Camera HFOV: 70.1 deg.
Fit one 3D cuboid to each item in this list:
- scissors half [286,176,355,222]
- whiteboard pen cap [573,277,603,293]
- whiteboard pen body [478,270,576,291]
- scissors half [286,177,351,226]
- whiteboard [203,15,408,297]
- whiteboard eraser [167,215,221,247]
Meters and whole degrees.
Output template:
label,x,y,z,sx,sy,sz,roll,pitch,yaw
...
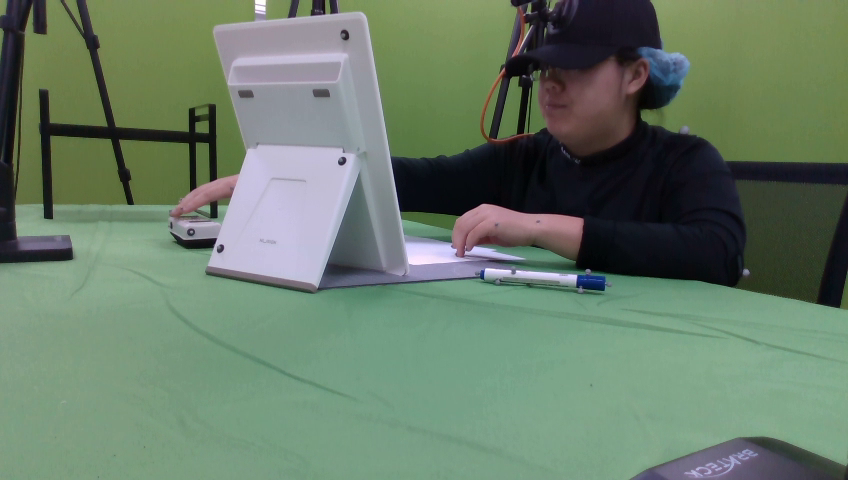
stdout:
label,x,y,z,sx,sy,sz,roll,pitch,yaw
scissors half,-0.229,-0.091,1.337,0.175,0.013,0.040,33,14,-13
whiteboard pen cap,0.186,0.051,0.687,0.033,0.018,0.018,4,8,17
whiteboard pen body,0.131,0.048,0.706,0.140,0.017,0.017,4,7,18
scissors half,-0.232,-0.085,1.317,0.175,0.013,0.040,38,19,4
whiteboard,-0.166,-0.072,0.668,0.216,0.305,0.144,8,30,30
whiteboard eraser,-0.350,-0.014,0.919,0.056,0.042,0.112,-1,7,-35
